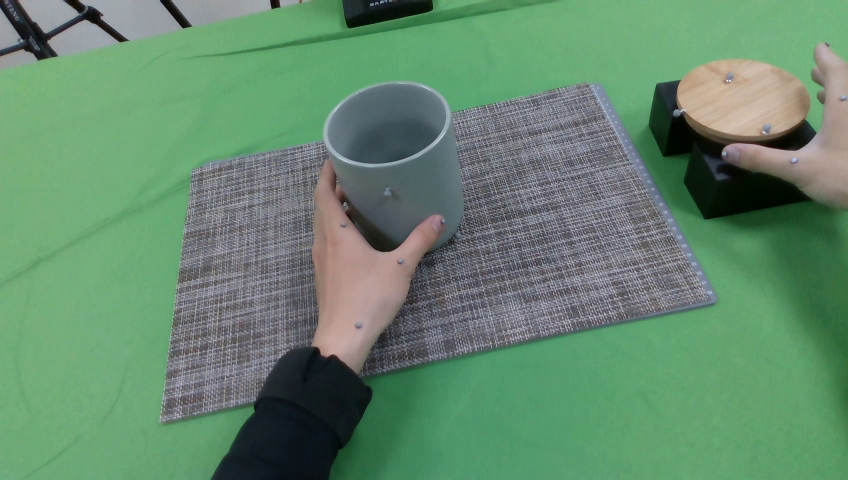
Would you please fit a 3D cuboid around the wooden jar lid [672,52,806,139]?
[{"bbox_3d":[0.277,-0.128,0.539,0.108,0.021,0.107,-5,53,7],"label":"wooden jar lid"}]

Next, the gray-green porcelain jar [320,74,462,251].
[{"bbox_3d":[-0.023,-0.061,0.530,0.106,0.128,0.105,-5,51,7],"label":"gray-green porcelain jar"}]
